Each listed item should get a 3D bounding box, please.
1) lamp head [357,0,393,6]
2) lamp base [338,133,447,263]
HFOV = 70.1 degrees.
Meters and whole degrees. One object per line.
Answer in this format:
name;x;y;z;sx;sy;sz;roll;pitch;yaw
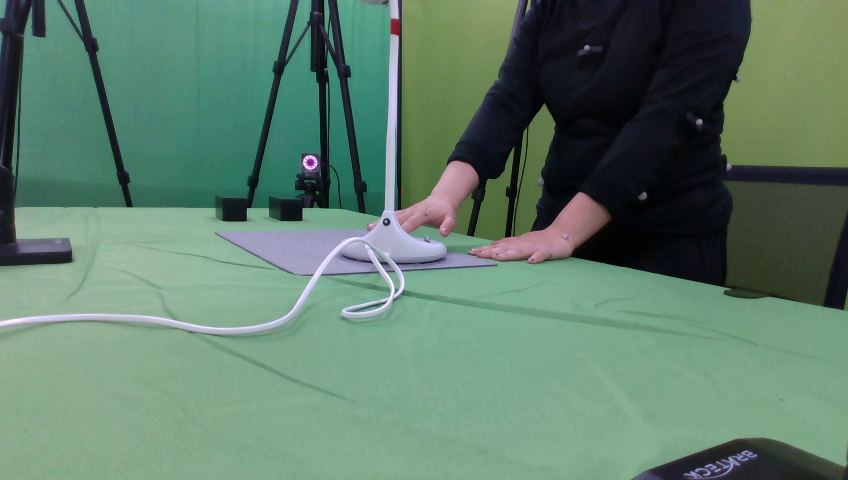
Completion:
lamp head;-0.056;-0.383;0.819;0.113;0.112;0.122;0;13;-21
lamp base;-0.043;-0.062;0.868;0.161;0.180;0.179;2;10;-3
